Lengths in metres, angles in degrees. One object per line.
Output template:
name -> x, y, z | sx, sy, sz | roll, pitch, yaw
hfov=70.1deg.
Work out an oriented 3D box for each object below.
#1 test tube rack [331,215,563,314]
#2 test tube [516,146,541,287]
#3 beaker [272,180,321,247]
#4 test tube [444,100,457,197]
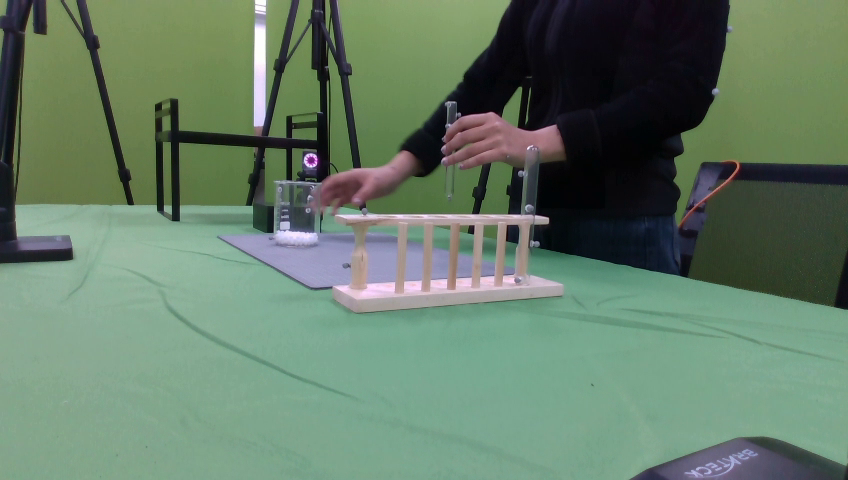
test tube rack -> 0.031, 0.019, 0.625 | 0.243, 0.085, 0.066 | -1, 8, -28
test tube -> 0.110, -0.024, 0.638 | 0.017, 0.150, 0.017 | 3, 6, 0
beaker -> -0.197, -0.042, 0.944 | 0.073, 0.100, 0.084 | 7, 8, 29
test tube -> 0.041, -0.143, 0.953 | 0.017, 0.150, 0.017 | 2, 12, 0
